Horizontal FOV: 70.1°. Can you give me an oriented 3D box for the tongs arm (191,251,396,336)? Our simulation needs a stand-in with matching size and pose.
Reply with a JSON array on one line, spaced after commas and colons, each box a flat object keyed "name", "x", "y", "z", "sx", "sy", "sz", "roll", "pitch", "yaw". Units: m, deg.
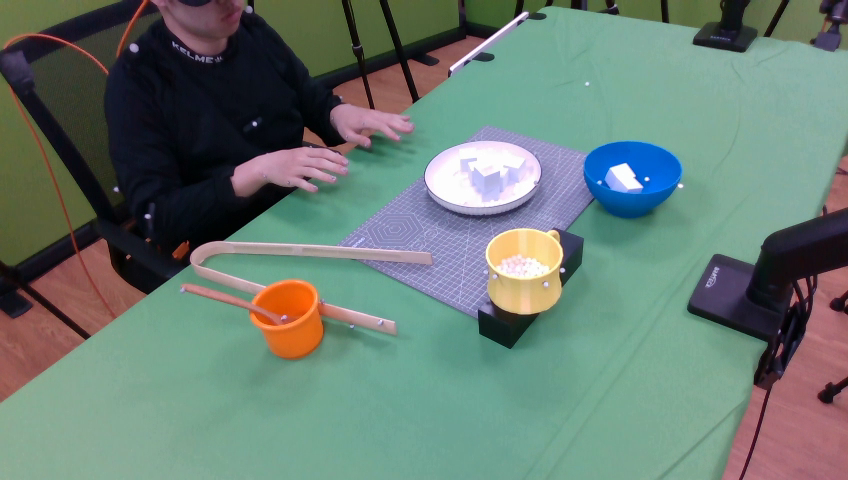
[{"name": "tongs arm", "x": -0.204, "y": 0.074, "z": 0.902, "sx": 0.382, "sy": 0.026, "sz": 0.051, "roll": 11, "pitch": 44, "yaw": 22}]

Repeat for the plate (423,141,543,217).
[{"name": "plate", "x": 0.103, "y": -0.103, "z": 1.059, "sx": 0.207, "sy": 0.039, "sz": 0.206, "roll": -4, "pitch": 40, "yaw": 4}]

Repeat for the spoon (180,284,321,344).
[{"name": "spoon", "x": -0.223, "y": 0.093, "z": 0.794, "sx": 0.021, "sy": 0.195, "sz": 0.041, "roll": -43, "pitch": 33, "yaw": 28}]

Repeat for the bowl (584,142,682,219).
[{"name": "bowl", "x": 0.333, "y": -0.087, "z": 0.980, "sx": 0.151, "sy": 0.077, "sz": 0.150, "roll": -4, "pitch": 40, "yaw": 3}]

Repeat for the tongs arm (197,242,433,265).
[{"name": "tongs arm", "x": -0.176, "y": 0.024, "z": 0.960, "sx": 0.386, "sy": 0.028, "sz": 0.028, "roll": 2, "pitch": 45, "yaw": 12}]

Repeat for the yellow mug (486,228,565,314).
[{"name": "yellow mug", "x": 0.142, "y": 0.031, "z": 0.801, "sx": 0.099, "sy": 0.064, "sz": 0.131, "roll": 28, "pitch": 51, "yaw": 34}]
